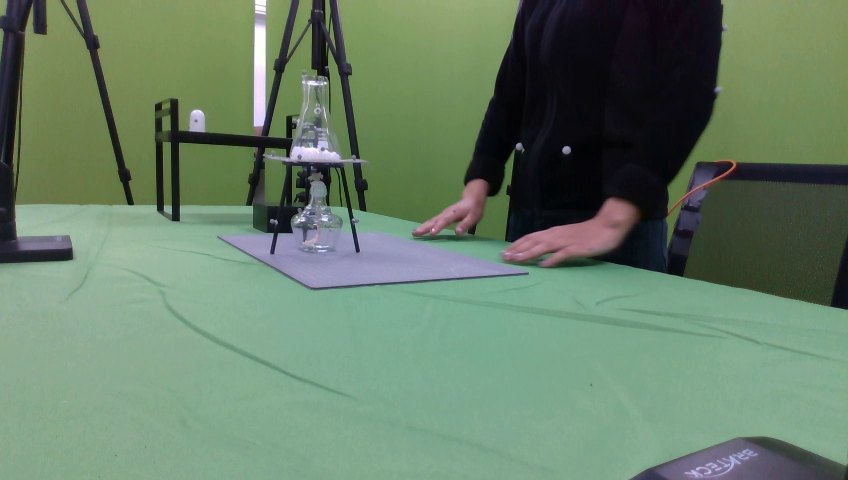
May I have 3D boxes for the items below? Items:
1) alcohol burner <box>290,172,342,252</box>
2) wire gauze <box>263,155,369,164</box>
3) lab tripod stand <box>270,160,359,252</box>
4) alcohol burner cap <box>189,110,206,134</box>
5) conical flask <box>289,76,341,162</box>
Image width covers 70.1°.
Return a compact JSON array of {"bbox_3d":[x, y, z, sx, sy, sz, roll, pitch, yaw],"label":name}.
[{"bbox_3d":[-0.160,-0.042,0.899,0.078,0.119,0.078,4,9,0],"label":"alcohol burner"},{"bbox_3d":[-0.160,-0.116,0.888,0.122,0.011,0.124,-1,6,-32],"label":"wire gauze"},{"bbox_3d":[-0.167,-0.051,0.892,0.148,0.131,0.148,4,9,0],"label":"lab tripod stand"},{"bbox_3d":[-0.464,-0.242,1.240,0.034,0.048,0.034,3,6,0],"label":"alcohol burner cap"},{"bbox_3d":[-0.159,-0.175,0.882,0.075,0.122,0.075,1,9,0],"label":"conical flask"}]
